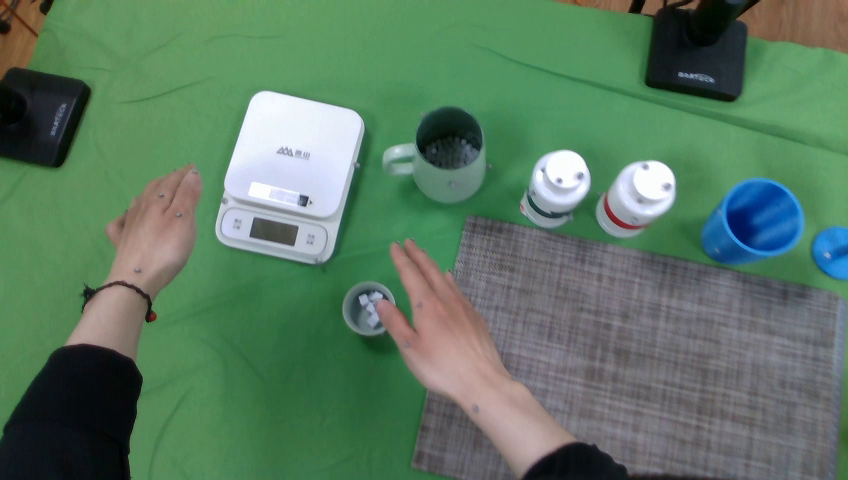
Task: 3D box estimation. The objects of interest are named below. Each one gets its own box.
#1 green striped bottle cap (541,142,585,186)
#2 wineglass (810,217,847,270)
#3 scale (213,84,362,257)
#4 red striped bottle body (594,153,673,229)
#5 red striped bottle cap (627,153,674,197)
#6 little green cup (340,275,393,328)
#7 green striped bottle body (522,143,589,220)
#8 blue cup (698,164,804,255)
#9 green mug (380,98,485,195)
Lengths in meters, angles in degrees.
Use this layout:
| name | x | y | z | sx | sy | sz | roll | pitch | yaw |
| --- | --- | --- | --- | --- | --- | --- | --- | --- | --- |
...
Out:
| name | x | y | z | sx | sy | sz | roll | pitch | yaw |
| --- | --- | --- | --- | --- | --- | --- | --- | --- | --- |
| green striped bottle cap | 0.147 | -0.081 | 0.640 | 0.044 | 0.020 | 0.044 | 0 | 77 | 1 |
| wineglass | 0.494 | -0.016 | 0.644 | 0.074 | 0.173 | 0.073 | 0 | 76 | 2 |
| scale | -0.168 | -0.088 | 0.746 | 0.148 | 0.032 | 0.200 | 12 | 78 | 4 |
| red striped bottle body | 0.238 | -0.056 | 0.686 | 0.063 | 0.120 | 0.062 | 0 | 77 | 1 |
| red striped bottle cap | 0.238 | -0.069 | 0.635 | 0.044 | 0.018 | 0.044 | 0 | 79 | 2 |
| little green cup | -0.064 | 0.073 | 0.704 | 0.061 | 0.039 | 0.061 | 0 | 78 | 1 |
| green striped bottle body | 0.149 | -0.068 | 0.691 | 0.063 | 0.120 | 0.063 | 0 | 76 | 2 |
| blue cup | 0.359 | -0.023 | 0.686 | 0.092 | 0.101 | 0.092 | -1 | 77 | 4 |
| green mug | 0.010 | -0.105 | 0.710 | 0.125 | 0.105 | 0.092 | -9 | 77 | 0 |
